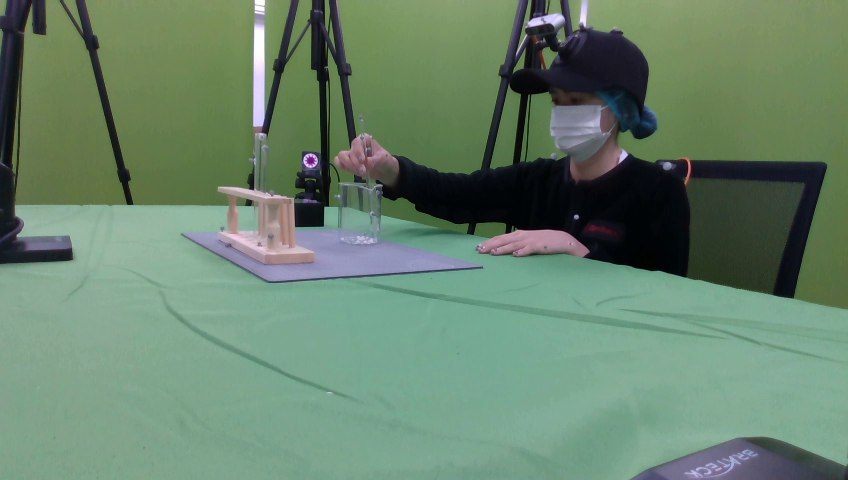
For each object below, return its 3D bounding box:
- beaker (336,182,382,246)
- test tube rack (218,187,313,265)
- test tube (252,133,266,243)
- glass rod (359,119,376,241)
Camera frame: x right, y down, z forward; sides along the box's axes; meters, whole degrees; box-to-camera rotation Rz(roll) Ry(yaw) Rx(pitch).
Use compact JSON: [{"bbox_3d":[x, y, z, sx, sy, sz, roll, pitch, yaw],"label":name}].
[{"bbox_3d":[-0.107,-0.043,0.996,0.074,0.100,0.083,-2,10,-29],"label":"beaker"},{"bbox_3d":[-0.235,-0.027,0.872,0.067,0.085,0.241,-2,8,-32],"label":"test tube rack"},{"bbox_3d":[-0.225,-0.070,0.826,0.017,0.150,0.017,2,2,0],"label":"test tube"},{"bbox_3d":[-0.092,-0.097,0.987,0.008,0.199,0.008,-6,6,1],"label":"glass rod"}]
